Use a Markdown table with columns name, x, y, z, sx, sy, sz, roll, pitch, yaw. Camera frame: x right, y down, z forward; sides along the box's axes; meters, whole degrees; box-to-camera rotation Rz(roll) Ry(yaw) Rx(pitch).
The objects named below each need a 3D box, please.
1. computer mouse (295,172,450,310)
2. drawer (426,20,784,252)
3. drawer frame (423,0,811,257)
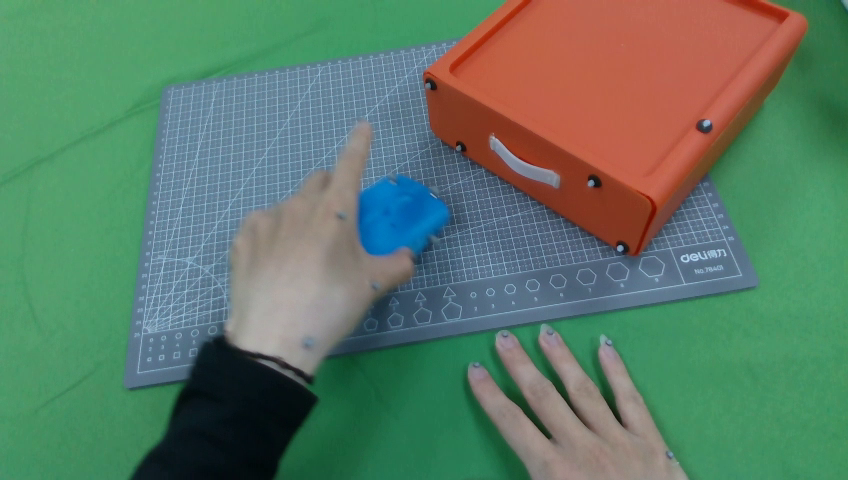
| name | x | y | z | sx | sy | sz | roll | pitch | yaw |
| --- | --- | --- | --- | --- | --- | --- | --- | --- | --- |
| computer mouse | -0.037 | -0.005 | 0.442 | 0.062 | 0.041 | 0.117 | 36 | 66 | 24 |
| drawer | 0.142 | -0.123 | 0.475 | 0.193 | 0.074 | 0.211 | 36 | 68 | 25 |
| drawer frame | 0.143 | -0.125 | 0.474 | 0.200 | 0.083 | 0.213 | 35 | 68 | 24 |
